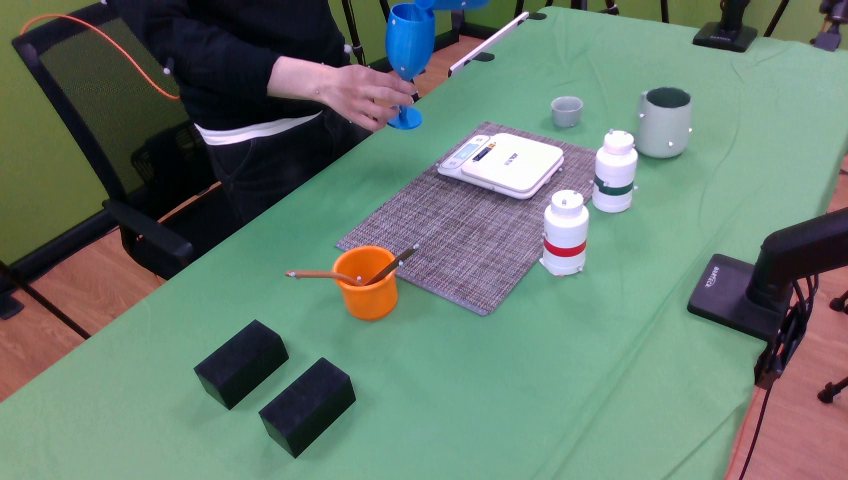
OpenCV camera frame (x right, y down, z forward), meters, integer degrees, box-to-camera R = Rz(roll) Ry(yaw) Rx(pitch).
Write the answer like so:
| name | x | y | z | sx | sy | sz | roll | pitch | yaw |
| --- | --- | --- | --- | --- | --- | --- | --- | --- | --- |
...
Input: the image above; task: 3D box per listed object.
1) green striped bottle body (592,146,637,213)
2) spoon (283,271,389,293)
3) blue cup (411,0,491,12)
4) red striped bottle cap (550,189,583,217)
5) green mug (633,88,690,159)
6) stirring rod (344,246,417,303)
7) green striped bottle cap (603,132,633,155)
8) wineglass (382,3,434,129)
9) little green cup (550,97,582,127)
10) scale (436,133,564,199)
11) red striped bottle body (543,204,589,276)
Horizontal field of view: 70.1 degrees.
| name | x | y | z | sx | sy | sz | roll | pitch | yaw |
| --- | --- | --- | --- | --- | --- | --- | --- | --- | --- |
| green striped bottle body | 0.307 | -0.108 | 0.976 | 0.063 | 0.120 | 0.063 | -4 | 41 | 4 |
| spoon | -0.117 | 0.054 | 0.825 | 0.041 | 0.195 | 0.021 | 17 | 89 | 38 |
| blue cup | 0.043 | -0.361 | 0.849 | 0.101 | 0.093 | 0.092 | -7 | 36 | -30 |
| red striped bottle cap | 0.199 | -0.052 | 0.843 | 0.044 | 0.018 | 0.044 | -2 | 42 | 2 |
| green mug | 0.423 | -0.217 | 1.099 | 0.093 | 0.105 | 0.124 | -16 | 41 | -10 |
| stirring rod | -0.062 | 0.050 | 0.819 | 0.014 | 0.175 | 0.006 | -1 | 63 | -40 |
| green striped bottle cap | 0.302 | -0.149 | 0.939 | 0.044 | 0.020 | 0.044 | -3 | 40 | 3 |
| wineglass | -0.026 | -0.256 | 0.904 | 0.074 | 0.172 | 0.073 | 4 | 44 | -4 |
| little green cup | 0.284 | -0.255 | 1.213 | 0.061 | 0.039 | 0.061 | -5 | 41 | 5 |
| scale | 0.137 | -0.142 | 1.101 | 0.199 | 0.032 | 0.149 | 22 | 48 | 30 |
| red striped bottle body | 0.205 | -0.011 | 0.878 | 0.063 | 0.120 | 0.062 | -5 | 41 | 4 |
